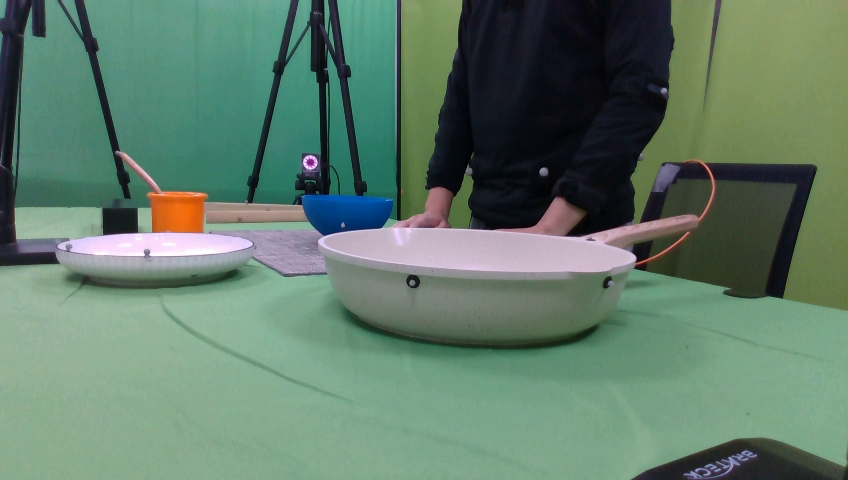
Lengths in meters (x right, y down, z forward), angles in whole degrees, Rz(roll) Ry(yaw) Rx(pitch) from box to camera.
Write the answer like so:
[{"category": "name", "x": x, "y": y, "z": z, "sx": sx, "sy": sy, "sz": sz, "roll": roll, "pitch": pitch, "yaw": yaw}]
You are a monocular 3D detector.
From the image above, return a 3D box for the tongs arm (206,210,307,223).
[{"category": "tongs arm", "x": -0.297, "y": -0.057, "z": 1.360, "sx": 0.390, "sy": 0.028, "sz": 0.028, "roll": -4, "pitch": 7, "yaw": -39}]

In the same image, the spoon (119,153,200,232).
[{"category": "spoon", "x": -0.439, "y": -0.077, "z": 1.000, "sx": 0.021, "sy": 0.193, "sz": 0.042, "roll": -43, "pitch": -7, "yaw": 21}]

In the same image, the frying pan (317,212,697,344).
[{"category": "frying pan", "x": 0.133, "y": 0.013, "z": 0.629, "sx": 0.490, "sy": 0.102, "sz": 0.305, "roll": -12, "pitch": 14, "yaw": -31}]

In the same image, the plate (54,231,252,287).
[{"category": "plate", "x": -0.309, "y": 0.020, "z": 0.705, "sx": 0.208, "sy": 0.039, "sz": 0.207, "roll": 2, "pitch": 7, "yaw": 0}]

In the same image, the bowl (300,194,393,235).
[{"category": "bowl", "x": -0.128, "y": -0.034, "z": 0.995, "sx": 0.151, "sy": 0.077, "sz": 0.151, "roll": 2, "pitch": 7, "yaw": 0}]

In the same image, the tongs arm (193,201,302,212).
[{"category": "tongs arm", "x": -0.338, "y": -0.072, "z": 1.429, "sx": 0.387, "sy": 0.026, "sz": 0.050, "roll": 0, "pitch": 9, "yaw": -26}]
